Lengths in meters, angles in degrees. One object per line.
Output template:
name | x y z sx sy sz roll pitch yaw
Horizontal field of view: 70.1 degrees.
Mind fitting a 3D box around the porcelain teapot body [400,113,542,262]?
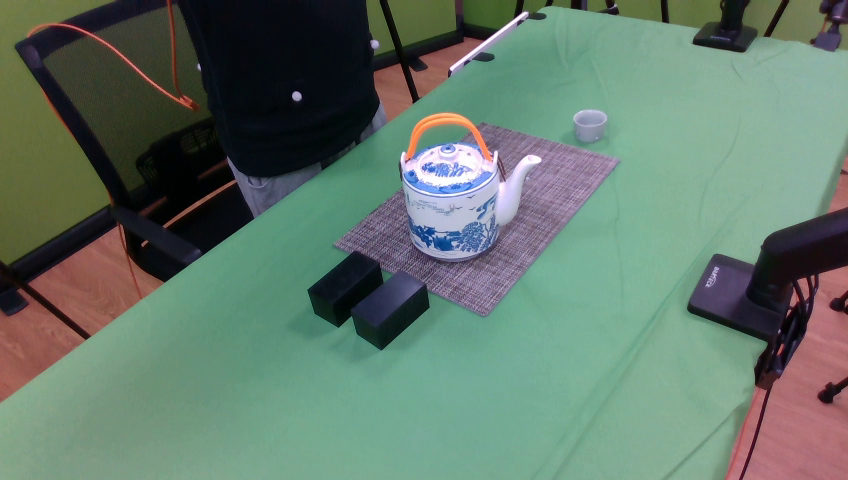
porcelain teapot body | 0.069 -0.086 0.897 0.205 0.226 0.144 -1 41 7

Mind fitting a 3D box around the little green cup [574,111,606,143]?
little green cup | 0.318 -0.217 1.164 0.061 0.039 0.061 -3 40 3

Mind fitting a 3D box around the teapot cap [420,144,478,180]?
teapot cap | 0.036 -0.114 0.874 0.085 0.044 0.085 -2 43 3
